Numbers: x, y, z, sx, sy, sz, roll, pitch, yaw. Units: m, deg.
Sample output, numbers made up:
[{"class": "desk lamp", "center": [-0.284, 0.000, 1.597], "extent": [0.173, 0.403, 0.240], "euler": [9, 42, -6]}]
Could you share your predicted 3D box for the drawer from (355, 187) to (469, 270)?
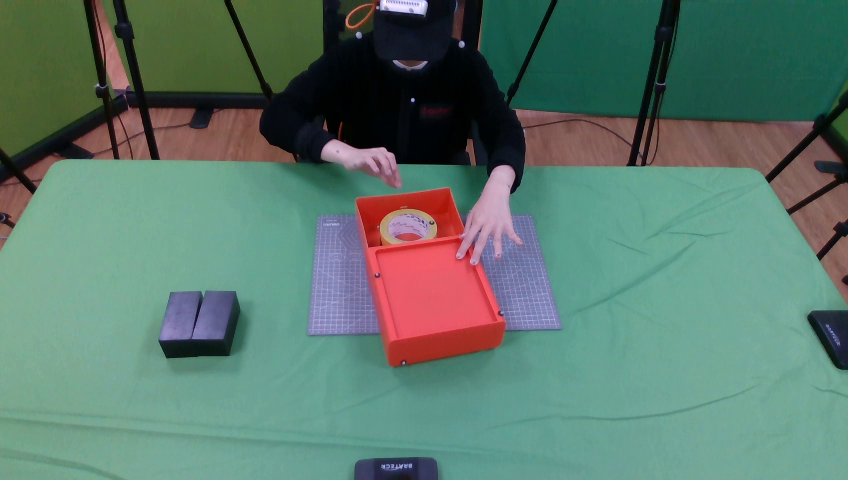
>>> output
[{"class": "drawer", "center": [-0.021, -0.001, 1.154], "extent": [0.195, 0.073, 0.210], "euler": [-7, 45, -11]}]

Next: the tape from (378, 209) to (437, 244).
[{"class": "tape", "center": [-0.030, -0.005, 1.169], "extent": [0.117, 0.053, 0.116], "euler": [1, 44, -1]}]

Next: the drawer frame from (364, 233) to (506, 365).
[{"class": "drawer frame", "center": [0.013, 0.096, 1.058], "extent": [0.202, 0.083, 0.212], "euler": [-8, 47, -13]}]
